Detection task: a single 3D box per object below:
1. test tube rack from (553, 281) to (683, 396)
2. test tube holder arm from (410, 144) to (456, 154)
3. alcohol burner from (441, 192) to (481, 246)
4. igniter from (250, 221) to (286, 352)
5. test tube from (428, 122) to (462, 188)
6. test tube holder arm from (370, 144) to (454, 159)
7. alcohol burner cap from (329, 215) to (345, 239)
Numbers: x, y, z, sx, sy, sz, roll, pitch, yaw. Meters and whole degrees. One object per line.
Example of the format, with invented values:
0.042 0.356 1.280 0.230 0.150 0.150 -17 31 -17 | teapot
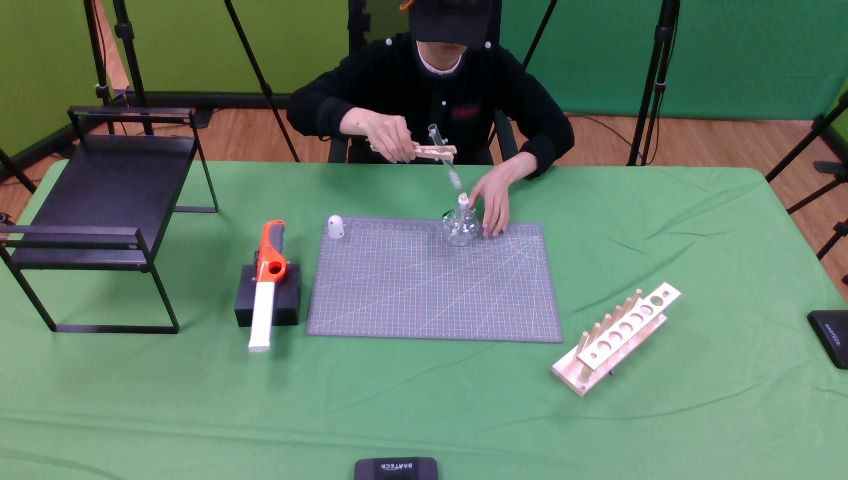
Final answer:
0.329 0.153 1.023 0.242 0.085 0.066 -30 54 -28 | test tube rack
0.015 -0.158 1.053 0.087 0.015 0.010 3 48 29 | test tube holder arm
0.073 -0.046 1.176 0.078 0.119 0.077 2 44 -2 | alcohol burner
-0.269 0.068 1.041 0.057 0.025 0.274 0 48 -7 | igniter
0.038 -0.143 1.049 0.017 0.151 0.017 -13 47 15 | test tube
-0.026 -0.158 1.074 0.178 0.015 0.013 9 51 33 | test tube holder arm
-0.172 -0.028 1.192 0.034 0.048 0.033 1 47 -1 | alcohol burner cap
